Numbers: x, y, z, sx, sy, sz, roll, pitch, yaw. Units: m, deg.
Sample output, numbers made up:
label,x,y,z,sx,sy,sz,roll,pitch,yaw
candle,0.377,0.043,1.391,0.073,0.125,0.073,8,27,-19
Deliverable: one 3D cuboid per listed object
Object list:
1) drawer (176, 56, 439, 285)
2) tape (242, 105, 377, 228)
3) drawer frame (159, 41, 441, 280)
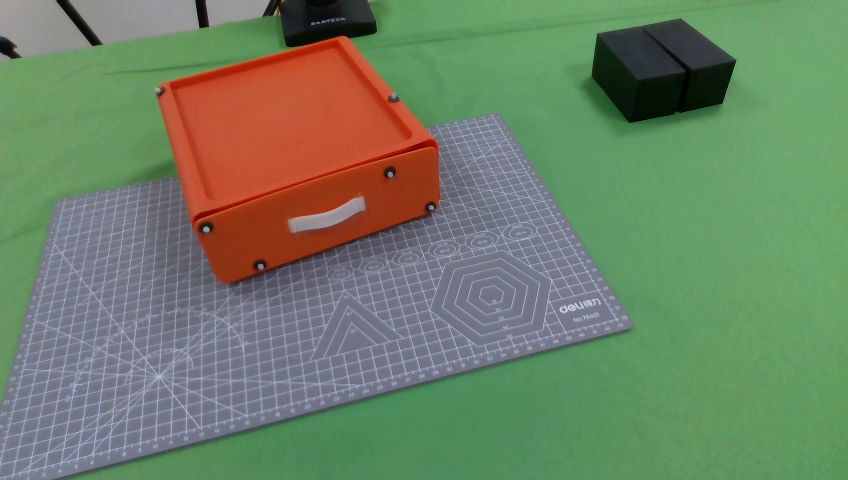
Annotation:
label,x,y,z,sx,sy,sz,roll,pitch,yaw
drawer,-0.116,-0.078,0.553,0.195,0.074,0.209,-21,46,-15
tape,-0.103,-0.069,0.548,0.117,0.053,0.115,-2,47,2
drawer frame,-0.119,-0.084,0.557,0.202,0.083,0.211,-21,46,-15
